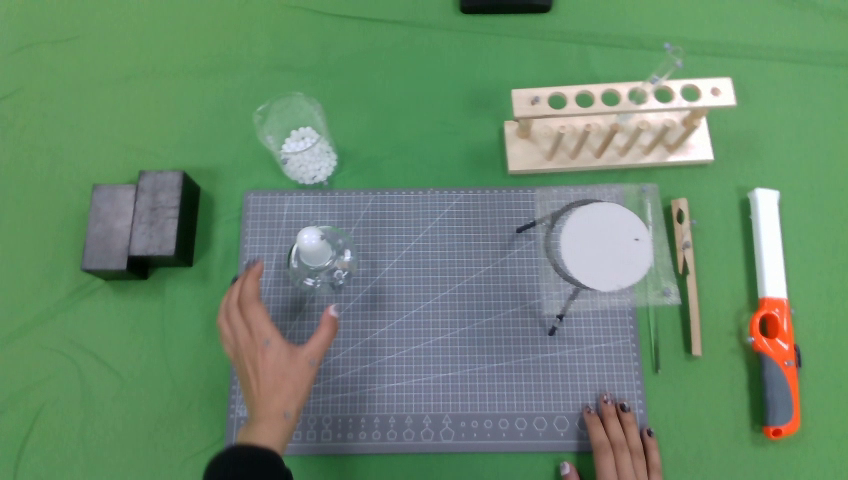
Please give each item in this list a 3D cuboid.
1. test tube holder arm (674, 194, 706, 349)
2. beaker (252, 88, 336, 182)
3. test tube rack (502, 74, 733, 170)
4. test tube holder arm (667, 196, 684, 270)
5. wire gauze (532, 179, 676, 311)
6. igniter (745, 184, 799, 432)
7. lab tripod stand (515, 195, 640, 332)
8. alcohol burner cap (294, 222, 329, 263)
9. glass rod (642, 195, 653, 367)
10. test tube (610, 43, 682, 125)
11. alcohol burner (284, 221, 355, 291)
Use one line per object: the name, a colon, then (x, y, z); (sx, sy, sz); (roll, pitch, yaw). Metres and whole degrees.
test tube holder arm: (0.300, 0.034, 0.684); (0.013, 0.015, 0.177); (-15, 70, 35)
beaker: (-0.144, -0.115, 0.689); (0.084, 0.101, 0.073); (17, 74, 6)
test tube rack: (0.218, -0.134, 0.699); (0.242, 0.085, 0.066); (-3, 74, 0)
test tube holder arm: (0.294, -0.008, 0.700); (0.010, 0.015, 0.087); (-14, 70, 36)
wire gauze: (0.165, 0.002, 0.564); (0.121, 0.011, 0.124); (-3, 74, 1)
igniter: (0.383, 0.070, 0.672); (0.057, 0.025, 0.275); (7, 74, -8)
lab tripod stand: (0.155, 0.016, 0.630); (0.148, 0.132, 0.147); (-1, 74, 2)
alcohol burner cap: (-0.115, 0.000, 0.609); (0.034, 0.048, 0.033); (1, 65, -2)
glass rod: (0.255, 0.044, 0.691); (0.008, 0.008, 0.199); (2, 78, 1)
test tube: (0.236, -0.163, 0.656); (0.017, 0.151, 0.017); (2, 73, -5)
alcohol burner: (-0.114, 0.012, 0.643); (0.078, 0.120, 0.077); (0, 72, 2)
